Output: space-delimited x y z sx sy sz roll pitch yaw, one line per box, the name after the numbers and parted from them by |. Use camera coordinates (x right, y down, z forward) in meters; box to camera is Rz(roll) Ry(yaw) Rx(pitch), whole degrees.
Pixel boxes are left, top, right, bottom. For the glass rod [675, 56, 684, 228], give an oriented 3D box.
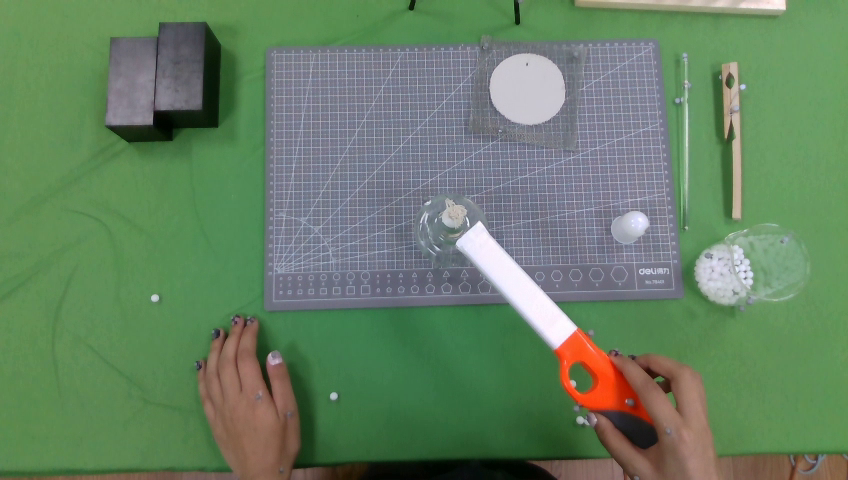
0.287 -0.111 0.681 0.008 0.008 0.199 4 83 0 | glass rod

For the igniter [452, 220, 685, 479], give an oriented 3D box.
0.127 0.094 0.530 0.057 0.025 0.276 -42 85 -10 | igniter

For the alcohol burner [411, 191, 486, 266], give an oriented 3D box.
0.025 -0.015 0.606 0.078 0.119 0.077 0 79 1 | alcohol burner

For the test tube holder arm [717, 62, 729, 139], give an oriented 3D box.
0.340 -0.158 0.686 0.010 0.015 0.087 -4 80 33 | test tube holder arm

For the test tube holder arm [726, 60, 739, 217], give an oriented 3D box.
0.344 -0.114 0.677 0.013 0.015 0.178 -4 80 33 | test tube holder arm

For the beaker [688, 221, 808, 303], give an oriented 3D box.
0.319 0.025 0.614 0.084 0.100 0.074 30 81 6 | beaker

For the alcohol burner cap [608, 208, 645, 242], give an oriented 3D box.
0.218 -0.018 0.645 0.034 0.048 0.033 0 81 -1 | alcohol burner cap

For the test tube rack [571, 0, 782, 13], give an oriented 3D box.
0.294 -0.310 0.675 0.242 0.085 0.066 2 80 0 | test tube rack

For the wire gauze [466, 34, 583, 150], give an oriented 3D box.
0.114 -0.171 0.686 0.125 0.011 0.121 10 82 0 | wire gauze

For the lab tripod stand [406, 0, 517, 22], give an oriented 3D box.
0.048 -0.307 0.646 0.148 0.132 0.148 0 82 0 | lab tripod stand
